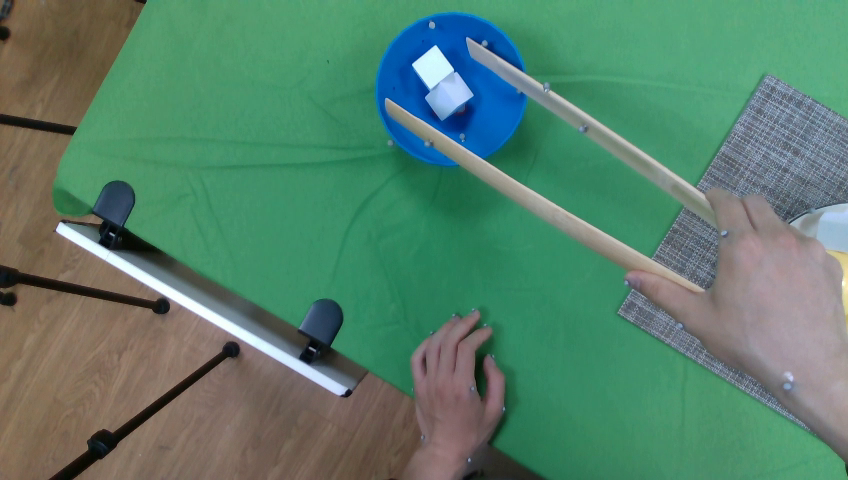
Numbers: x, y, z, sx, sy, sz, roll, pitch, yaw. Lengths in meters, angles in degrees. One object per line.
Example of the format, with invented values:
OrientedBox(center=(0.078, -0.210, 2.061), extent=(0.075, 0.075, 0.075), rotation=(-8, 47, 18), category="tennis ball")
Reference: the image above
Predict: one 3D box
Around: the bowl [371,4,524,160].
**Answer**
OrientedBox(center=(0.025, -0.152, 0.626), extent=(0.151, 0.077, 0.151), rotation=(0, 90, 3), category="bowl")

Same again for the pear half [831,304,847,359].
OrientedBox(center=(0.466, 0.090, 0.616), extent=(0.088, 0.031, 0.070), rotation=(-27, 92, 9), category="pear half")

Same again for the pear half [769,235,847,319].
OrientedBox(center=(0.410, 0.027, 0.610), extent=(0.076, 0.056, 0.110), rotation=(42, 89, -2), category="pear half")

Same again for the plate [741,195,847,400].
OrientedBox(center=(0.429, 0.058, 0.623), extent=(0.207, 0.039, 0.207), rotation=(0, 90, 3), category="plate")

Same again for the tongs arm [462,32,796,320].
OrientedBox(center=(0.139, -0.077, 0.509), extent=(0.051, 0.027, 0.381), rotation=(-36, 57, -14), category="tongs arm")

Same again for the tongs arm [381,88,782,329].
OrientedBox(center=(0.094, -0.042, 0.496), extent=(0.028, 0.028, 0.384), rotation=(-40, 57, -21), category="tongs arm")
